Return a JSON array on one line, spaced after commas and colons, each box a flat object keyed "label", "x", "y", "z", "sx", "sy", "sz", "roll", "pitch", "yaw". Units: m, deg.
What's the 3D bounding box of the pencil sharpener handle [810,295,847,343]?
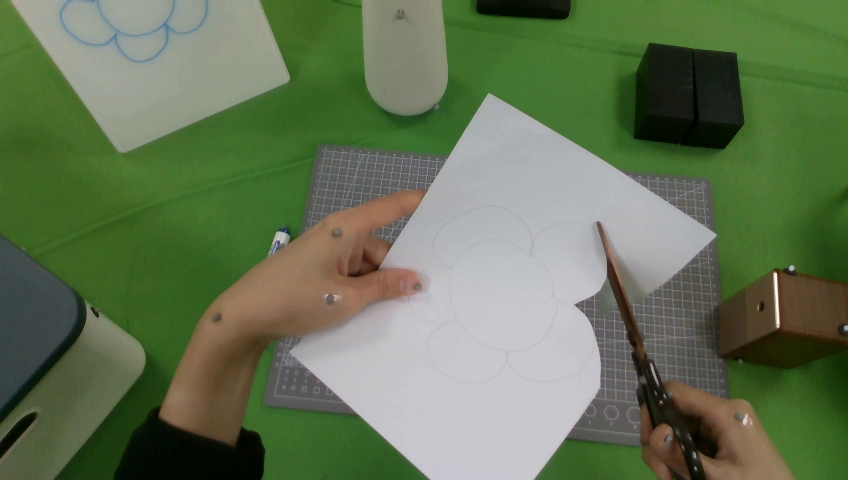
[{"label": "pencil sharpener handle", "x": 0.387, "y": 0.077, "z": 0.556, "sx": 0.030, "sy": 0.068, "sz": 0.035, "roll": 10, "pitch": 61, "yaw": 1}]

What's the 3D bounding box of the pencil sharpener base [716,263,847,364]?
[{"label": "pencil sharpener base", "x": 0.336, "y": 0.072, "z": 0.568, "sx": 0.077, "sy": 0.107, "sz": 0.061, "roll": 10, "pitch": 66, "yaw": 1}]

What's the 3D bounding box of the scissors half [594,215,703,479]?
[{"label": "scissors half", "x": 0.129, "y": 0.067, "z": 0.353, "sx": 0.013, "sy": 0.040, "sz": 0.174, "roll": -18, "pitch": 84, "yaw": 2}]

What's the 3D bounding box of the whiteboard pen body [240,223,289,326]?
[{"label": "whiteboard pen body", "x": -0.168, "y": 0.045, "z": 0.628, "sx": 0.017, "sy": 0.017, "sz": 0.140, "roll": 12, "pitch": 66, "yaw": 6}]

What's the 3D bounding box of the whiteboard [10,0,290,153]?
[{"label": "whiteboard", "x": -0.313, "y": -0.290, "z": 0.648, "sx": 0.217, "sy": 0.308, "sz": 0.142, "roll": -27, "pitch": 50, "yaw": -10}]

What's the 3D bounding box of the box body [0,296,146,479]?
[{"label": "box body", "x": -0.472, "y": 0.086, "z": 0.532, "sx": 0.362, "sy": 0.161, "sz": 0.253, "roll": 31, "pitch": 71, "yaw": 12}]

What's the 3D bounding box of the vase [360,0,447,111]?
[{"label": "vase", "x": -0.024, "y": -0.228, "z": 0.647, "sx": 0.098, "sy": 0.201, "sz": 0.097, "roll": 0, "pitch": 65, "yaw": 1}]

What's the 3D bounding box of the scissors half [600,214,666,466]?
[{"label": "scissors half", "x": 0.131, "y": 0.064, "z": 0.375, "sx": 0.013, "sy": 0.040, "sz": 0.176, "roll": -18, "pitch": 109, "yaw": 6}]

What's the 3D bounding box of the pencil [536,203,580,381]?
[{"label": "pencil", "x": 0.140, "y": 0.050, "z": 0.630, "sx": 0.012, "sy": 0.012, "sz": 0.192, "roll": -7, "pitch": 69, "yaw": -3}]

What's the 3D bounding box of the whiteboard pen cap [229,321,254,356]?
[{"label": "whiteboard pen cap", "x": -0.180, "y": 0.098, "z": 0.603, "sx": 0.018, "sy": 0.018, "sz": 0.033, "roll": 12, "pitch": 63, "yaw": 5}]

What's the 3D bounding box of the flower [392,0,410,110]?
[{"label": "flower", "x": -0.030, "y": -0.274, "z": 0.576, "sx": 0.044, "sy": 0.365, "sz": 0.038, "roll": -1, "pitch": 49, "yaw": 3}]

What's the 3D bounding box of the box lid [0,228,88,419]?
[{"label": "box lid", "x": -0.474, "y": 0.055, "z": 0.464, "sx": 0.370, "sy": 0.015, "sz": 0.262, "roll": 31, "pitch": 70, "yaw": 12}]
